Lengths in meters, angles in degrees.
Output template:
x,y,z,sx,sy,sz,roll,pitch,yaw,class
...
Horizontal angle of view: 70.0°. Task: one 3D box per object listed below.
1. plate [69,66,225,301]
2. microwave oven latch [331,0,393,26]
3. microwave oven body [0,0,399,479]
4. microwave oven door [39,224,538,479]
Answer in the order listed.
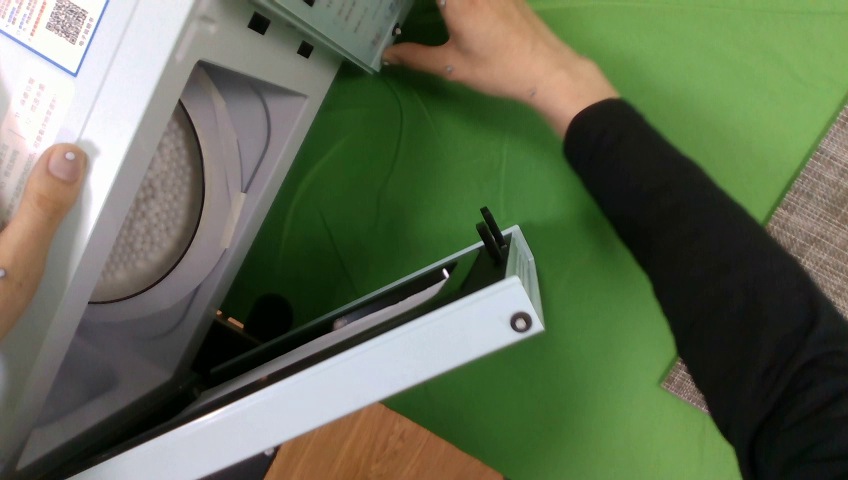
x,y,z,sx,sy,sz,roll,pitch,yaw,class
-0.260,-0.055,0.498,0.209,0.038,0.209,1,100,5,plate
-0.039,-0.202,0.484,0.079,0.029,0.030,-23,95,11,microwave oven latch
-0.262,-0.095,0.434,0.326,0.260,0.442,30,101,3,microwave oven body
-0.089,0.089,0.431,0.355,0.243,0.039,-26,92,11,microwave oven door
